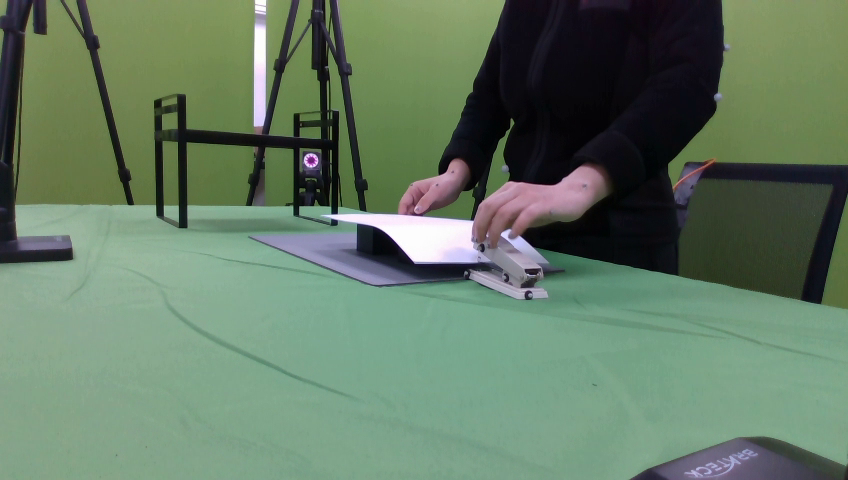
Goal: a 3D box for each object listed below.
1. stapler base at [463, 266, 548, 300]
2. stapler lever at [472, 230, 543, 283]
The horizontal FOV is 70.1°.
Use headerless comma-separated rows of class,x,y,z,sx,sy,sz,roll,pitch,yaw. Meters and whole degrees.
stapler base,0.090,0.042,0.696,0.041,0.024,0.130,-3,12,-25
stapler lever,0.093,0.017,0.691,0.027,0.040,0.117,-3,13,-25
